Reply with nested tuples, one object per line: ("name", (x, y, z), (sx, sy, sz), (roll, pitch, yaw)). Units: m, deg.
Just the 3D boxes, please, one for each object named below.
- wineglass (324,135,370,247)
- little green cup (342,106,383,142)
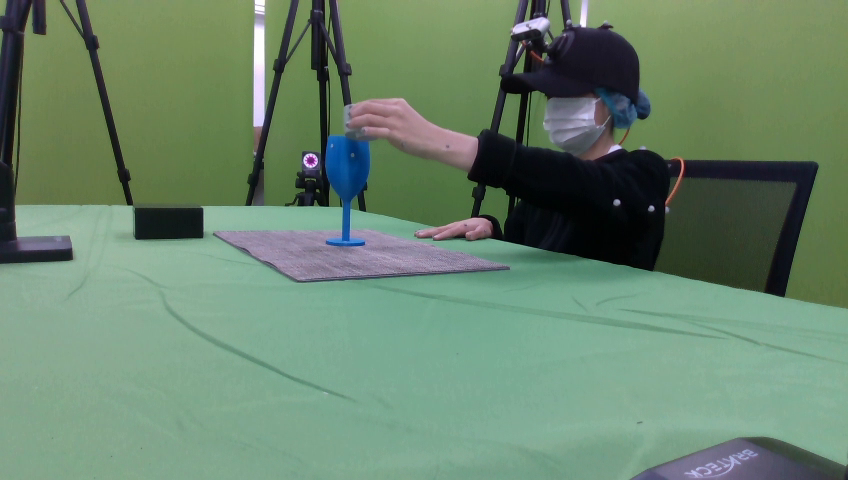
("wineglass", (-0.125, -0.079, 0.965), (0.074, 0.172, 0.073), (3, 7, 0))
("little green cup", (-0.090, -0.169, 0.891), (0.061, 0.038, 0.061), (-2, -6, 0))
